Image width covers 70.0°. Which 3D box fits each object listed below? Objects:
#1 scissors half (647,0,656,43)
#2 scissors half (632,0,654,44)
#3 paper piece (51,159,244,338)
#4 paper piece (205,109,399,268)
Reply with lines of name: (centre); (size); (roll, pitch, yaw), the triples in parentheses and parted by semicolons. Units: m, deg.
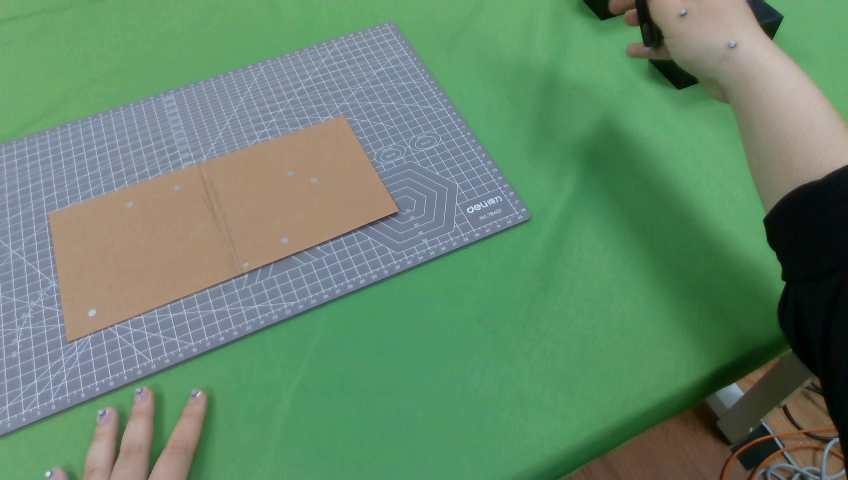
scissors half: (0.159, -0.241, 0.465); (0.012, 0.176, 0.040); (-7, 22, 28)
scissors half: (0.151, -0.235, 0.448); (0.013, 0.040, 0.175); (-9, 95, 23)
paper piece: (-0.230, -0.001, 0.497); (0.138, 0.009, 0.134); (-22, 54, -11)
paper piece: (-0.109, -0.052, 0.524); (0.135, 0.004, 0.134); (-23, 56, -11)
